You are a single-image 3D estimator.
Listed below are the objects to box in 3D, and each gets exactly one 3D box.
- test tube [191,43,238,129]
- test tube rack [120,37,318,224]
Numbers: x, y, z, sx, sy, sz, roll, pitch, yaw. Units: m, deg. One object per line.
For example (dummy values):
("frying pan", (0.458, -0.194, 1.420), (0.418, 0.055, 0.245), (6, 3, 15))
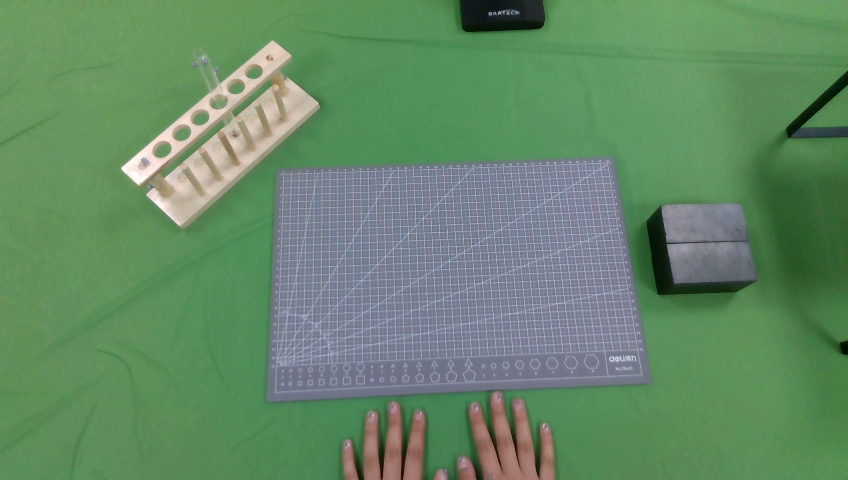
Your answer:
("test tube", (-0.249, -0.180, 0.728), (0.017, 0.151, 0.017), (1, 66, -1))
("test tube rack", (-0.249, -0.139, 0.765), (0.066, 0.085, 0.242), (40, 75, 12))
